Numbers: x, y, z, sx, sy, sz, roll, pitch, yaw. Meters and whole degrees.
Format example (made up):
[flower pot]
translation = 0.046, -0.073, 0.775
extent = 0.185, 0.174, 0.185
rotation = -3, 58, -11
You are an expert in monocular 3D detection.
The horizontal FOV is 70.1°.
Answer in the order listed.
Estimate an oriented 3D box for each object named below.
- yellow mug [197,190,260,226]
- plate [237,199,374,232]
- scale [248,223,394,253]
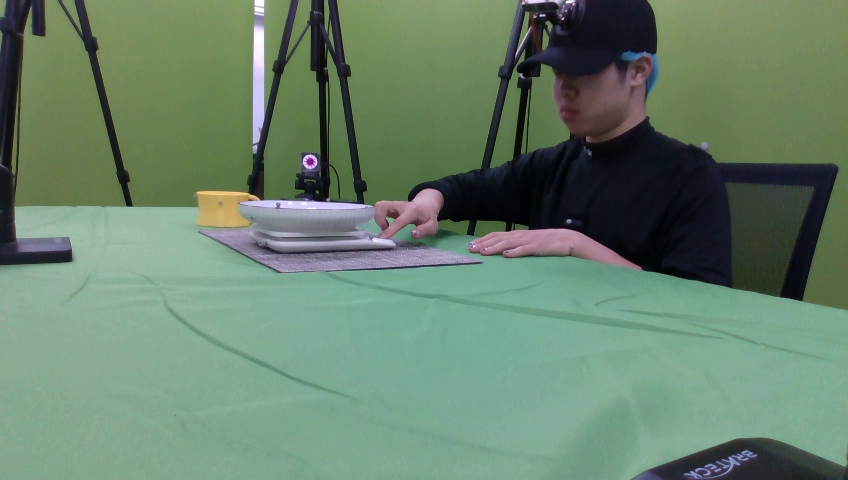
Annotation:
[yellow mug]
translation = -0.389, -0.065, 1.223
extent = 0.131, 0.064, 0.099
rotation = -1, 8, -34
[plate]
translation = -0.183, -0.039, 0.941
extent = 0.209, 0.038, 0.209
rotation = 3, 7, 0
[scale]
translation = -0.162, -0.006, 0.954
extent = 0.202, 0.031, 0.148
rotation = -2, 8, -32
